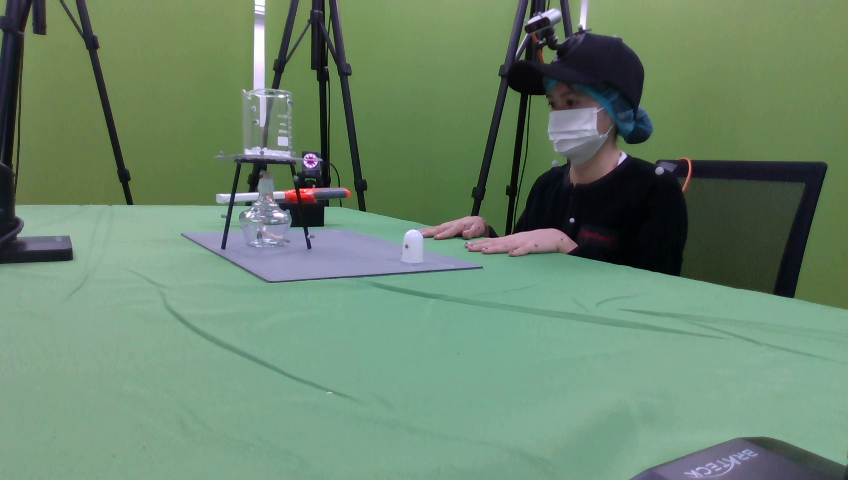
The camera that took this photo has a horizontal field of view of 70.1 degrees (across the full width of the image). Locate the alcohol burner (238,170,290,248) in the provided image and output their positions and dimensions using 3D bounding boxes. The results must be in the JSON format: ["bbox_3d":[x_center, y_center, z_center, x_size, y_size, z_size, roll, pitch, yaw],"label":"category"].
[{"bbox_3d":[-0.244,-0.048,0.927,0.078,0.119,0.078,3,5,0],"label":"alcohol burner"}]

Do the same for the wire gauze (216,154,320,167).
[{"bbox_3d":[-0.236,-0.121,0.906,0.126,0.011,0.121,0,8,-33],"label":"wire gauze"}]

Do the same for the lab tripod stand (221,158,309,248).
[{"bbox_3d":[-0.244,-0.057,0.917,0.148,0.131,0.148,1,7,0],"label":"lab tripod stand"}]

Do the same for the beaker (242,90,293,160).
[{"bbox_3d":[-0.235,-0.169,0.900,0.074,0.100,0.084,4,7,23],"label":"beaker"}]

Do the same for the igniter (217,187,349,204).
[{"bbox_3d":[-0.285,-0.093,1.256,0.278,0.025,0.057,-6,12,-34],"label":"igniter"}]

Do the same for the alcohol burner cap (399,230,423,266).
[{"bbox_3d":[-0.017,0.010,0.837,0.034,0.048,0.034,3,7,0],"label":"alcohol burner cap"}]
